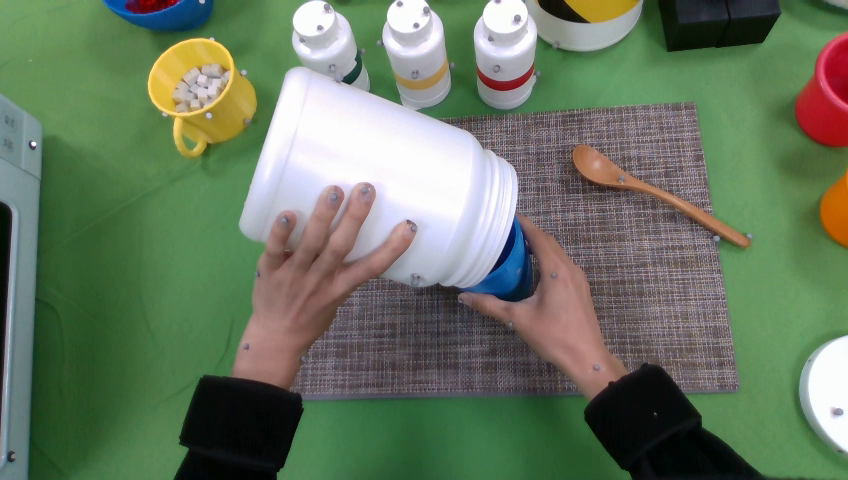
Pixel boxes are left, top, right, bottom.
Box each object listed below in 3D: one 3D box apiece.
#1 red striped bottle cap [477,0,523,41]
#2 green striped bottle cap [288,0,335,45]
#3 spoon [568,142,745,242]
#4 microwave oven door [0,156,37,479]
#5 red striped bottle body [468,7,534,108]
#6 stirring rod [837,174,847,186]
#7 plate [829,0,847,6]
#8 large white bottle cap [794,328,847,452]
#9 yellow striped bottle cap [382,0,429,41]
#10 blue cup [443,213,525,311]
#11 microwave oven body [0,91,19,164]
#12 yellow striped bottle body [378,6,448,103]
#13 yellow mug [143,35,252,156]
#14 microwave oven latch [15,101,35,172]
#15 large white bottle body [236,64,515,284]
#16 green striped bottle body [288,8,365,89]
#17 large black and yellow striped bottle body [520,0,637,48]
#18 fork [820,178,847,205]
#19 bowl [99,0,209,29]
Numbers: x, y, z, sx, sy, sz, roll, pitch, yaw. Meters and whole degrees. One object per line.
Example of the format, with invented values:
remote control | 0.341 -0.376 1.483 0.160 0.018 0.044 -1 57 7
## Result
red striped bottle cap | 0.073 -0.214 0.580 0.044 0.018 0.044 -1 71 3
green striped bottle cap | -0.113 -0.218 0.605 0.044 0.020 0.044 -2 71 6
spoon | 0.232 -0.047 0.610 0.193 0.022 0.041 29 53 14
microwave oven door | -0.445 0.056 0.530 0.039 0.245 0.353 -12 71 4
red striped bottle body | 0.081 -0.196 0.630 0.063 0.120 0.062 -4 68 11
stirring rod | 0.409 -0.022 0.524 0.014 0.006 0.175 0 29 4
plate | 0.486 -0.339 0.668 0.209 0.038 0.208 -2 73 6
large white bottle cap | 0.393 0.134 0.538 0.115 0.018 0.114 -2 71 6
yellow striped bottle cap | -0.018 -0.219 0.594 0.044 0.019 0.044 -2 73 6
blue cup | 0.054 0.021 0.558 0.092 0.101 0.092 -8 62 15
microwave oven body | -0.594 0.048 0.556 0.326 0.262 0.438 -12 72 3
yellow striped bottle body | -0.012 -0.203 0.642 0.063 0.121 0.062 -3 72 8
yellow mug | -0.259 -0.158 0.687 0.100 0.064 0.130 7 74 9
microwave oven latch | -0.468 -0.117 0.695 0.030 0.030 0.078 -10 72 4
large white bottle body | -0.035 -0.041 0.466 0.185 0.130 0.130 17 73 -17
green striped bottle body | -0.105 -0.202 0.654 0.063 0.120 0.063 -2 71 6
large black and yellow striped bottle body | 0.166 -0.303 0.619 0.130 0.185 0.130 -2 72 7
fork | 0.437 -0.020 0.512 0.028 0.205 0.019 -23 115 -15
bowl | -0.315 -0.314 0.738 0.151 0.077 0.150 -2 72 6
